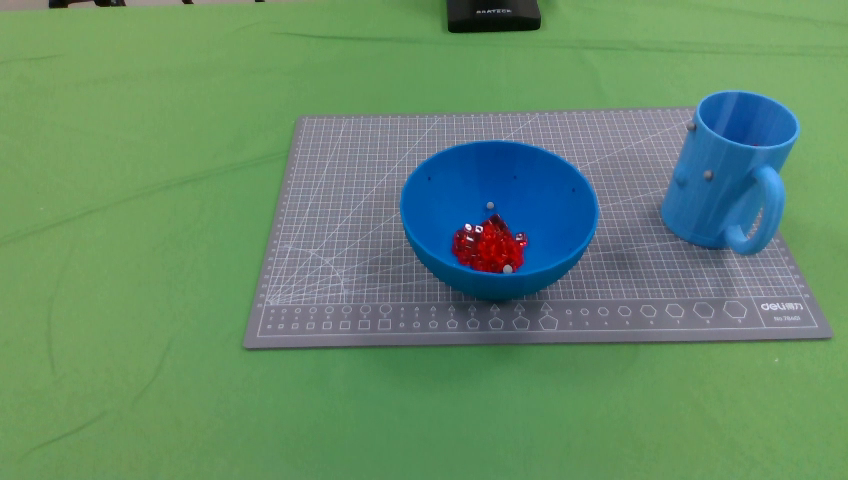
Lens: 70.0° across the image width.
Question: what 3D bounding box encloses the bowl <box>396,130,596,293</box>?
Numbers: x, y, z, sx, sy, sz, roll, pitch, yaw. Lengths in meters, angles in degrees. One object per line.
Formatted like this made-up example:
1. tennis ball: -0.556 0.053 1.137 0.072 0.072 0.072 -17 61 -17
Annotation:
1. bowl: 0.054 -0.010 0.484 0.151 0.077 0.150 0 48 1

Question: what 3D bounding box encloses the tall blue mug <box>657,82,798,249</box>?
1. tall blue mug: 0.255 -0.054 0.496 0.078 0.109 0.106 -27 53 -21
